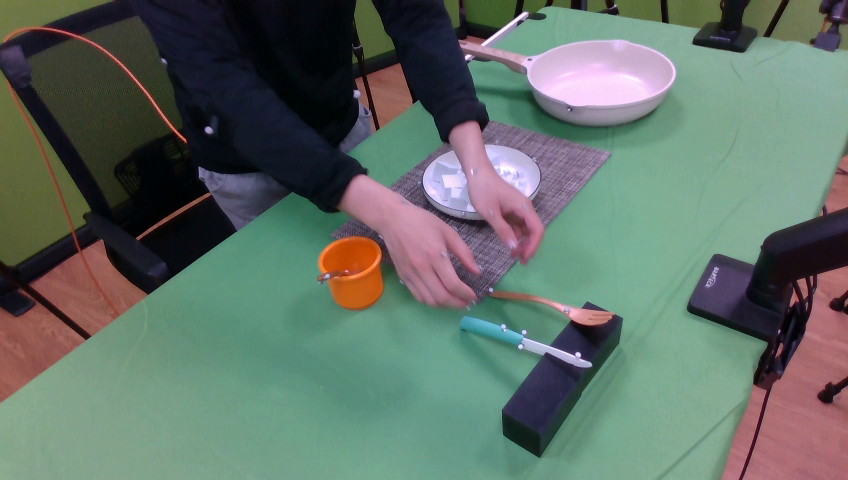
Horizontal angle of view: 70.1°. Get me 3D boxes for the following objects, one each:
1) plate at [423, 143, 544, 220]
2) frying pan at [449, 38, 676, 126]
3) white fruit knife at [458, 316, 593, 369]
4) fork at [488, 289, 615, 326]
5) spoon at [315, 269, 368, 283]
[{"bbox_3d":[0.102,-0.097,1.049,0.207,0.039,0.206,-4,40,4],"label":"plate"},{"bbox_3d":[0.272,-0.363,1.287,0.485,0.103,0.307,23,48,19],"label":"frying pan"},{"bbox_3d":[0.120,0.127,0.757,0.205,0.027,0.016,12,44,43],"label":"white fruit knife"},{"bbox_3d":[0.160,0.086,0.801,0.028,0.019,0.205,-42,33,-28],"label":"fork"},{"bbox_3d":[-0.116,0.049,0.831,0.041,0.194,0.021,-4,85,9],"label":"spoon"}]
